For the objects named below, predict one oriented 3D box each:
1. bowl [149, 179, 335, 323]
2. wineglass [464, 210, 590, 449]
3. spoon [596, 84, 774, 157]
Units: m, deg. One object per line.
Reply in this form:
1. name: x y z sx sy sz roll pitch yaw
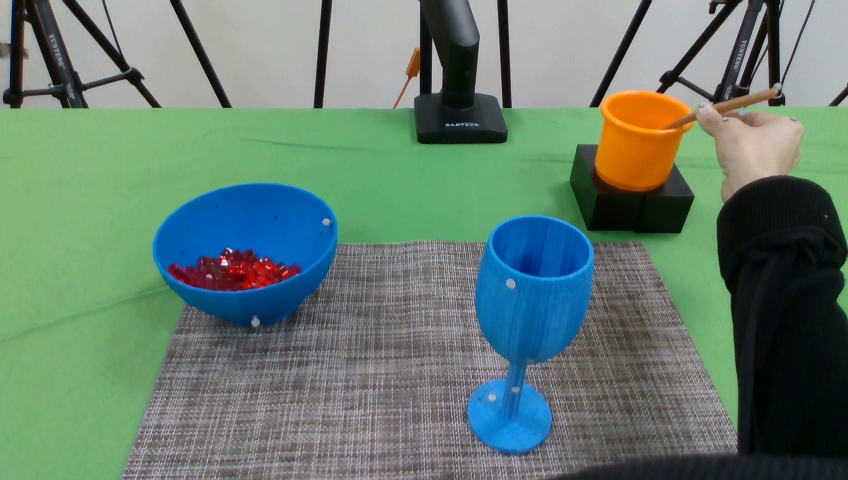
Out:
1. bowl: -0.152 0.019 0.534 0.151 0.077 0.150 1 40 -1
2. wineglass: 0.065 0.067 0.413 0.074 0.174 0.073 1 40 -1
3. spoon: 0.242 -0.113 0.586 0.041 0.193 0.021 -33 95 -29
